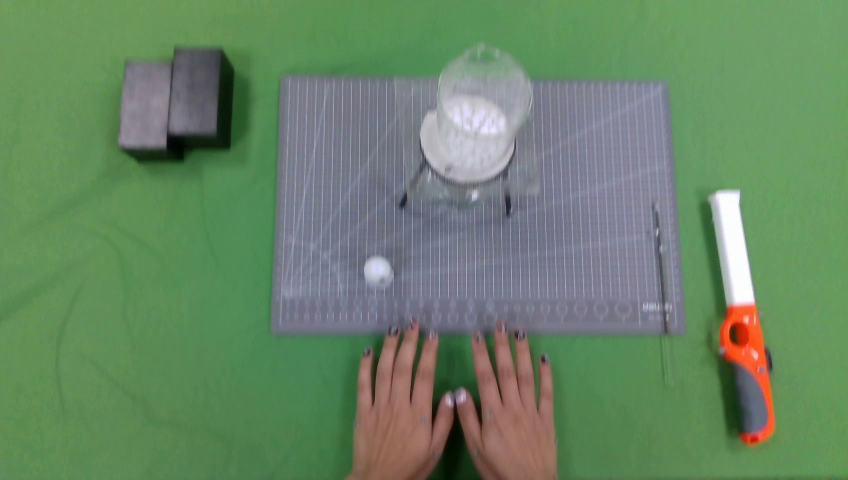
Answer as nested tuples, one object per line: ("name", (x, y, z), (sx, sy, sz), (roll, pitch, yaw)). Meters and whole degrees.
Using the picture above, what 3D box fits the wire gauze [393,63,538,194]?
("wire gauze", (0.037, -0.102, 0.553), (0.125, 0.011, 0.121), (-4, 79, -1))

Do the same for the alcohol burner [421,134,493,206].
("alcohol burner", (0.035, -0.077, 0.626), (0.078, 0.119, 0.077), (0, 79, -1))

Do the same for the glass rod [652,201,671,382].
("glass rod", (0.261, 0.054, 0.668), (0.008, 0.008, 0.199), (0, 81, -3))

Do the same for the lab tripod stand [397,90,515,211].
("lab tripod stand", (0.036, -0.088, 0.617), (0.148, 0.132, 0.148), (0, 79, -1))

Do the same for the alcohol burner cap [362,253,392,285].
("alcohol burner cap", (-0.051, 0.029, 0.641), (0.034, 0.048, 0.033), (0, 81, -3))

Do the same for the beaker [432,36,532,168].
("beaker", (0.043, -0.109, 0.506), (0.074, 0.100, 0.083), (-3, 79, -3))

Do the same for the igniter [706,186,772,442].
("igniter", (0.343, 0.077, 0.661), (0.057, 0.025, 0.275), (-2, 81, -13))
